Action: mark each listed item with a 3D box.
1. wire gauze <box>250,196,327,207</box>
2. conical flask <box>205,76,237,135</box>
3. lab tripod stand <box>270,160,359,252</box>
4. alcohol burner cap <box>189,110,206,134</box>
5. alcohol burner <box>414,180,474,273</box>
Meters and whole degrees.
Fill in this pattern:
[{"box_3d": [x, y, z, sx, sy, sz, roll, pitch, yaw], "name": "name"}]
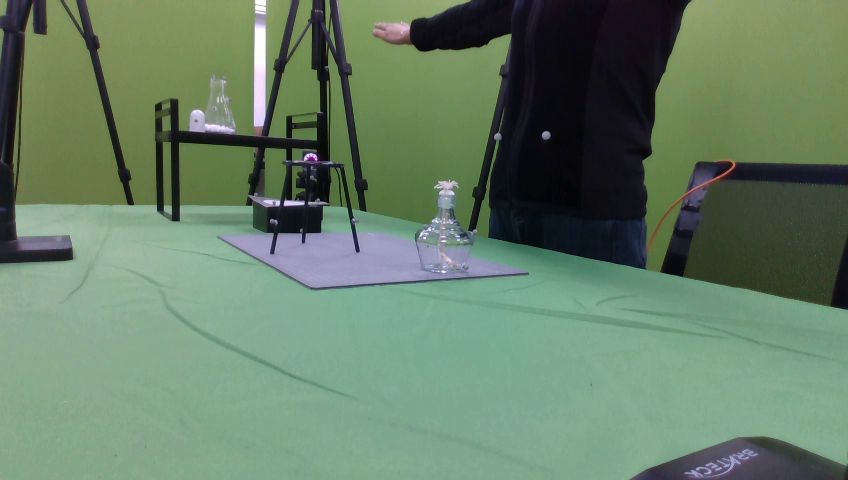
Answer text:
[{"box_3d": [-0.259, -0.073, 1.150, 0.122, 0.011, 0.124, 0, 8, -32], "name": "wire gauze"}, {"box_3d": [-0.443, -0.290, 1.309, 0.075, 0.122, 0.075, 3, 7, 0], "name": "conical flask"}, {"box_3d": [-0.166, -0.051, 0.892, 0.148, 0.131, 0.148, 3, 9, 0], "name": "lab tripod stand"}, {"box_3d": [-0.464, -0.242, 1.240, 0.034, 0.048, 0.034, 5, 7, 0], "name": "alcohol burner cap"}, {"box_3d": [0.026, -0.017, 0.773, 0.078, 0.119, 0.078, 4, 6, 0], "name": "alcohol burner"}]
